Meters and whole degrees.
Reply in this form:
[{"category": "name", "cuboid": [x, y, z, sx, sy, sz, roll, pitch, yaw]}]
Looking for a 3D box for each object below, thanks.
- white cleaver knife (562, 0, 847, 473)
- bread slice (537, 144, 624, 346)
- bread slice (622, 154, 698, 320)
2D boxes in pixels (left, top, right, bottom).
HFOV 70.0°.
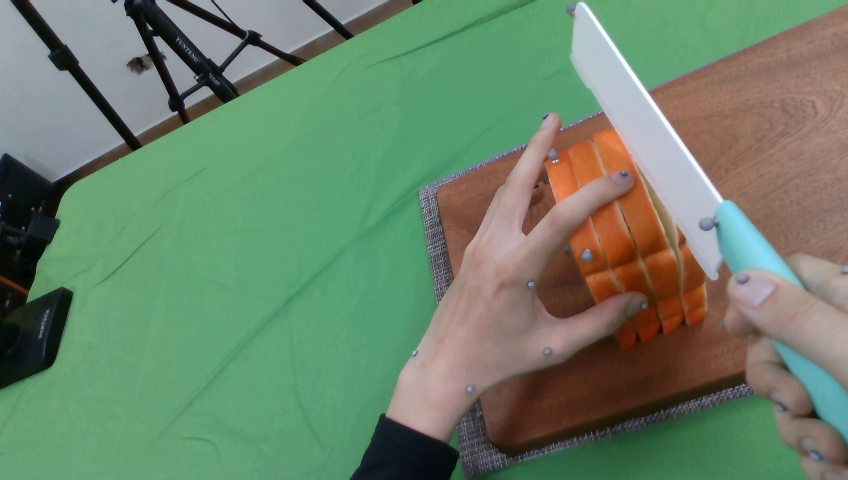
[{"category": "white cleaver knife", "cuboid": [0.134, -0.016, 0.301, 0.021, 0.066, 0.283, -23, 62, 4]}, {"category": "bread slice", "cuboid": [0.108, -0.003, 0.419, 0.018, 0.136, 0.106, -20, 49, 14]}, {"category": "bread slice", "cuboid": [0.157, -0.019, 0.402, 0.019, 0.133, 0.104, -18, 53, 10]}]
